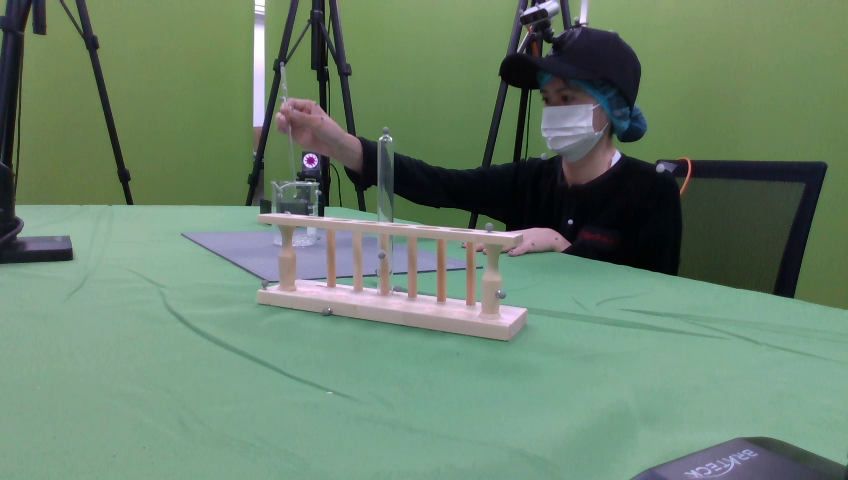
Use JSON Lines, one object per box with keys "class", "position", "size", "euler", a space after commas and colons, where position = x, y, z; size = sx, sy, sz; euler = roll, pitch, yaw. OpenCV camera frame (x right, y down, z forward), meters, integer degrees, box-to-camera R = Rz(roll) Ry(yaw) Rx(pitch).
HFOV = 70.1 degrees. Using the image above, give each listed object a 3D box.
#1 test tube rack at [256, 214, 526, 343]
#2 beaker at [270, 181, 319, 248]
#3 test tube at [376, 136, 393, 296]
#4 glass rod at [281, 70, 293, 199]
{"class": "test tube rack", "position": [-0.032, 0.027, 0.547], "size": [0.241, 0.085, 0.067], "euler": [5, 7, 22]}
{"class": "beaker", "position": [-0.203, -0.040, 0.935], "size": [0.074, 0.100, 0.084], "euler": [5, 8, 18]}
{"class": "test tube", "position": [-0.037, -0.021, 0.565], "size": [0.017, 0.150, 0.017], "euler": [1, 6, 0]}
{"class": "glass rod", "position": [-0.213, -0.163, 0.937], "size": [0.008, 0.199, 0.008], "euler": [-3, 3, 0]}
